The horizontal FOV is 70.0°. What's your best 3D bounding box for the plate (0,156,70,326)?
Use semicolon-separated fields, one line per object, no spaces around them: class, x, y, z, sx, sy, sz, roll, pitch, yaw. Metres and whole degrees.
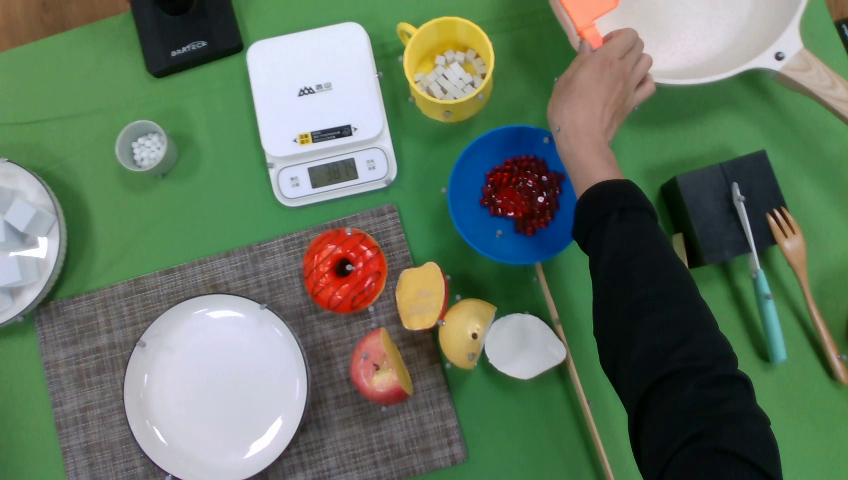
plate;-0.516;0.003;0.718;0.207;0.039;0.207;0;83;3

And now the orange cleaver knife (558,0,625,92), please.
orange cleaver knife;0.166;-0.255;0.635;0.077;0.012;0.210;-28;84;-9

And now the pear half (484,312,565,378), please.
pear half;0.112;0.117;0.670;0.087;0.031;0.070;9;82;19

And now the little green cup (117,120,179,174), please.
little green cup;-0.325;-0.108;0.719;0.061;0.039;0.061;0;83;4

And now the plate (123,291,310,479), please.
plate;-0.227;0.161;0.678;0.209;0.038;0.208;0;83;3

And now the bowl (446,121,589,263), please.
bowl;0.099;-0.046;0.667;0.151;0.077;0.151;0;84;3

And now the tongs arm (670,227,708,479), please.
tongs arm;0.284;0.179;0.656;0.028;0.028;0.386;-1;84;-4

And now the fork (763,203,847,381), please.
fork;0.408;0.057;0.644;0.028;0.018;0.208;-26;98;-7

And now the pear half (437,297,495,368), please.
pear half;0.040;0.094;0.638;0.056;0.110;0.076;16;79;6

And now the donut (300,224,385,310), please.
donut;-0.092;0.030;0.683;0.099;0.048;0.099;-1;85;6

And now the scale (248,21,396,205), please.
scale;-0.121;-0.150;0.715;0.148;0.031;0.200;-12;83;2

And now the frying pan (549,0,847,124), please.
frying pan;0.345;-0.235;0.661;0.307;0.103;0.485;-43;75;-1

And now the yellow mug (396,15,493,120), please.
yellow mug;0.017;-0.206;0.696;0.130;0.064;0.100;41;88;8

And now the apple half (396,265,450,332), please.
apple half;0.006;0.064;0.678;0.080;0.033;0.081;11;106;44

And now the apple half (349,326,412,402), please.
apple half;-0.052;0.138;0.653;0.053;0.075;0.080;-26;86;5

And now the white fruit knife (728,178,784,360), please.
white fruit knife;0.350;0.034;0.643;0.016;0.027;0.208;-18;97;3

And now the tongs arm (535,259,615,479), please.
tongs arm;0.200;0.195;0.655;0.051;0.026;0.383;-16;84;-3
